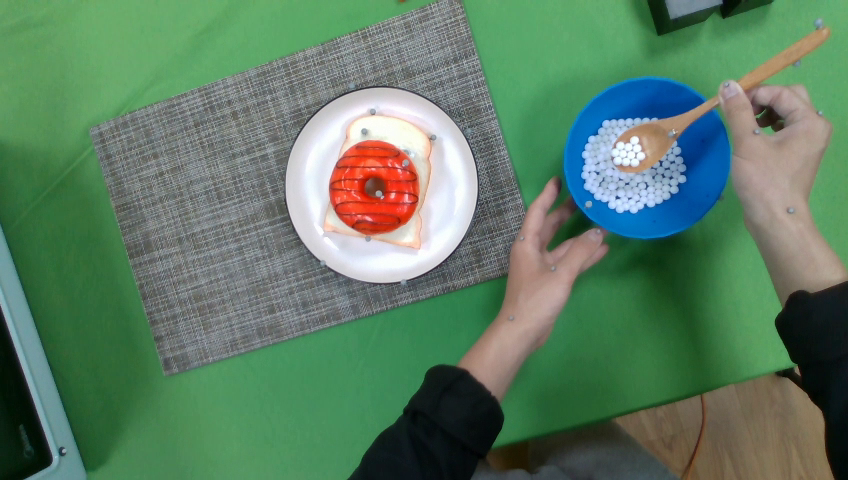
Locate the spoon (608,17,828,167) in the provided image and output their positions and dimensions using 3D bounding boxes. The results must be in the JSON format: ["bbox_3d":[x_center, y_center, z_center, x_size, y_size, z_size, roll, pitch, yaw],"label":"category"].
[{"bbox_3d":[0.244,-0.122,0.519,0.194,0.021,0.041,-34,86,38],"label":"spoon"}]

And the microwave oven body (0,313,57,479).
[{"bbox_3d":[-0.626,0.127,0.610,0.326,0.260,0.441,-19,91,6],"label":"microwave oven body"}]

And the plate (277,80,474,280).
[{"bbox_3d":[-0.050,-0.062,0.646,0.207,0.039,0.207,0,93,6],"label":"plate"}]

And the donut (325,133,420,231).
[{"bbox_3d":[-0.053,-0.059,0.618,0.099,0.048,0.099,0,93,7],"label":"donut"}]

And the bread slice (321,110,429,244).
[{"bbox_3d":[-0.049,-0.069,0.646,0.107,0.018,0.134,8,94,6],"label":"bread slice"}]

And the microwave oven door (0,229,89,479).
[{"bbox_3d":[-0.476,0.119,0.587,0.039,0.244,0.355,-20,90,7],"label":"microwave oven door"}]

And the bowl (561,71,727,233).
[{"bbox_3d":[0.208,-0.082,0.599,0.151,0.077,0.151,0,92,6],"label":"bowl"}]
